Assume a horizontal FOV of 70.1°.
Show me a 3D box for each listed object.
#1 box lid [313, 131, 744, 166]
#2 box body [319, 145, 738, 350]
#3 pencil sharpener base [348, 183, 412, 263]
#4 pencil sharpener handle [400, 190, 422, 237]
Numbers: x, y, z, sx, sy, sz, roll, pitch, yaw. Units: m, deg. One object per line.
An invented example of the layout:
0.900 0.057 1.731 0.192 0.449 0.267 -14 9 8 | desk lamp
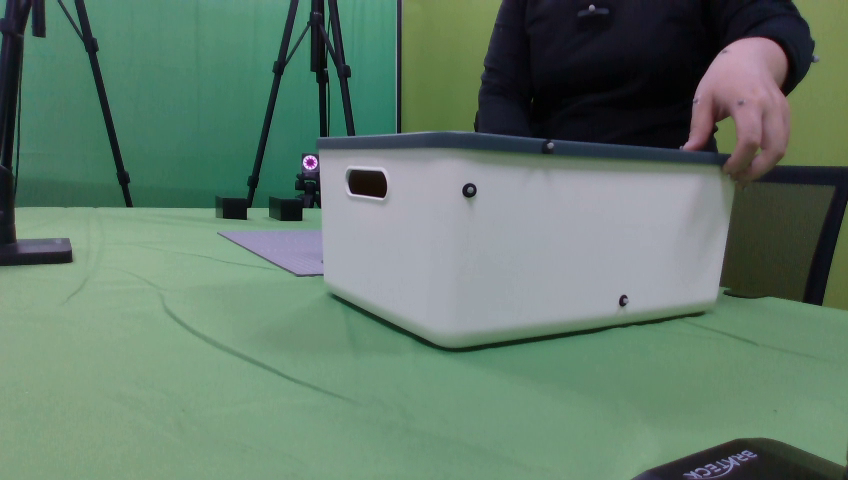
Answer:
0.100 -0.086 0.602 0.373 0.015 0.262 -2 8 -32 | box lid
0.100 -0.013 0.611 0.366 0.160 0.253 -2 8 -33 | box body
-0.060 -0.024 0.846 0.077 0.107 0.061 -1 8 -30 | pencil sharpener base
-0.016 -0.038 0.872 0.031 0.067 0.036 -1 15 -30 | pencil sharpener handle
